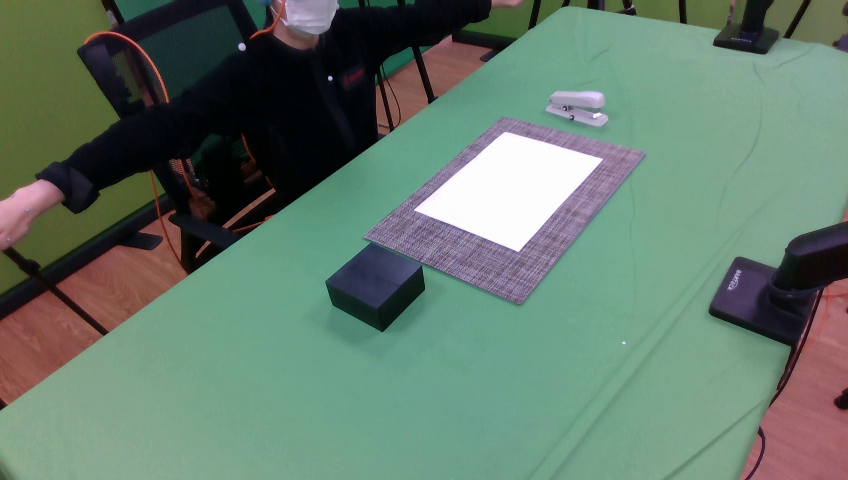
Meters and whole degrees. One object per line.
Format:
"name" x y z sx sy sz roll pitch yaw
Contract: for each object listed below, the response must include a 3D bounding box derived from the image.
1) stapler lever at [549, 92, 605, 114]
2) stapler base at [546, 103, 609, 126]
"stapler lever" 0.309 -0.285 1.220 0.117 0.040 0.027 26 49 36
"stapler base" 0.313 -0.266 1.235 0.129 0.024 0.041 26 48 35
